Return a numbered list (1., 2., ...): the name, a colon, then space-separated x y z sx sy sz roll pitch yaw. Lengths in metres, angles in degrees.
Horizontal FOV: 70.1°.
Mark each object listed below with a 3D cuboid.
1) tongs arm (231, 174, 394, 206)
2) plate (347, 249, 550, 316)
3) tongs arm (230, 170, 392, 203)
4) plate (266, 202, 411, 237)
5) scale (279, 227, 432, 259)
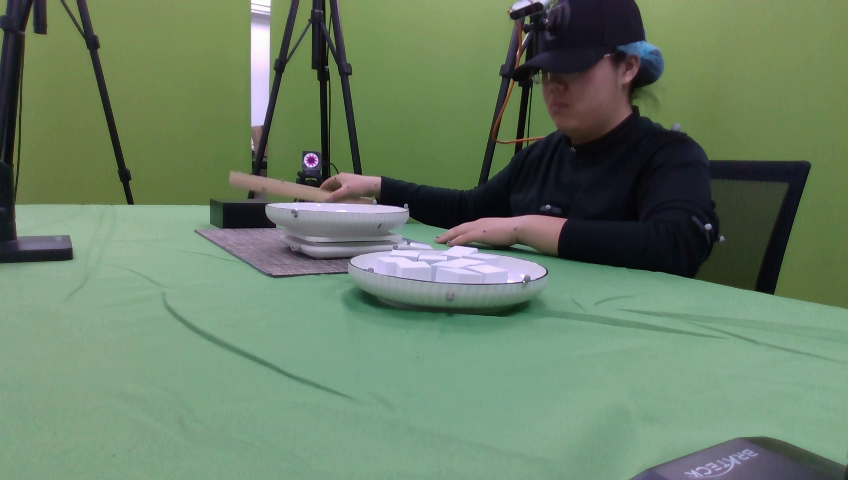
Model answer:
1. tongs arm: -0.239 -0.101 1.374 0.390 0.028 0.028 9 3 -28
2. plate: 0.025 0.042 0.627 0.209 0.038 0.209 2 7 0
3. tongs arm: -0.261 -0.114 1.436 0.386 0.026 0.050 10 6 -19
4. plate: -0.123 -0.030 0.879 0.208 0.039 0.207 2 6 0
5. scale: -0.100 0.001 0.899 0.202 0.031 0.148 -1 9 -31
